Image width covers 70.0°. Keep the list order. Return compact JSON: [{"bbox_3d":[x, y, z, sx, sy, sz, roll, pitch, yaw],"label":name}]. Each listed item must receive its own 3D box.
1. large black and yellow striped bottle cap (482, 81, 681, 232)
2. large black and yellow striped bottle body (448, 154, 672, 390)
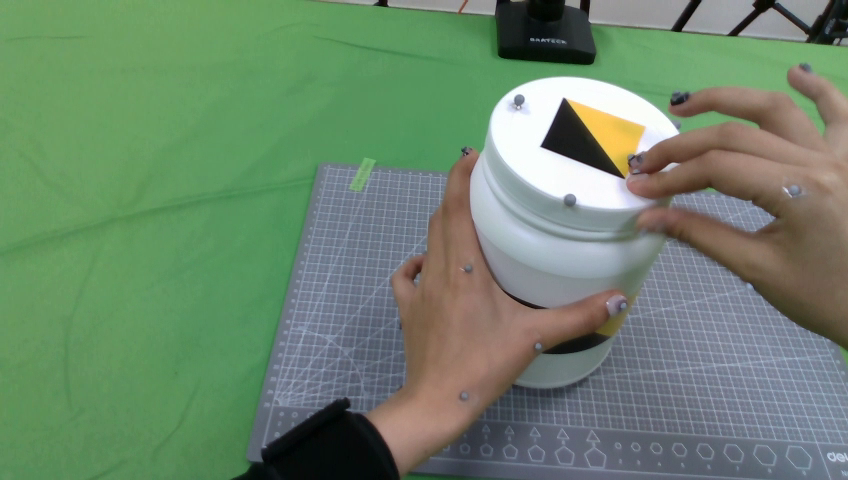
[{"bbox_3d":[0.092,-0.053,0.355,0.115,0.019,0.114,4,51,-5],"label":"large black and yellow striped bottle cap"},{"bbox_3d":[0.088,0.005,0.421,0.131,0.185,0.129,2,49,-2],"label":"large black and yellow striped bottle body"}]
